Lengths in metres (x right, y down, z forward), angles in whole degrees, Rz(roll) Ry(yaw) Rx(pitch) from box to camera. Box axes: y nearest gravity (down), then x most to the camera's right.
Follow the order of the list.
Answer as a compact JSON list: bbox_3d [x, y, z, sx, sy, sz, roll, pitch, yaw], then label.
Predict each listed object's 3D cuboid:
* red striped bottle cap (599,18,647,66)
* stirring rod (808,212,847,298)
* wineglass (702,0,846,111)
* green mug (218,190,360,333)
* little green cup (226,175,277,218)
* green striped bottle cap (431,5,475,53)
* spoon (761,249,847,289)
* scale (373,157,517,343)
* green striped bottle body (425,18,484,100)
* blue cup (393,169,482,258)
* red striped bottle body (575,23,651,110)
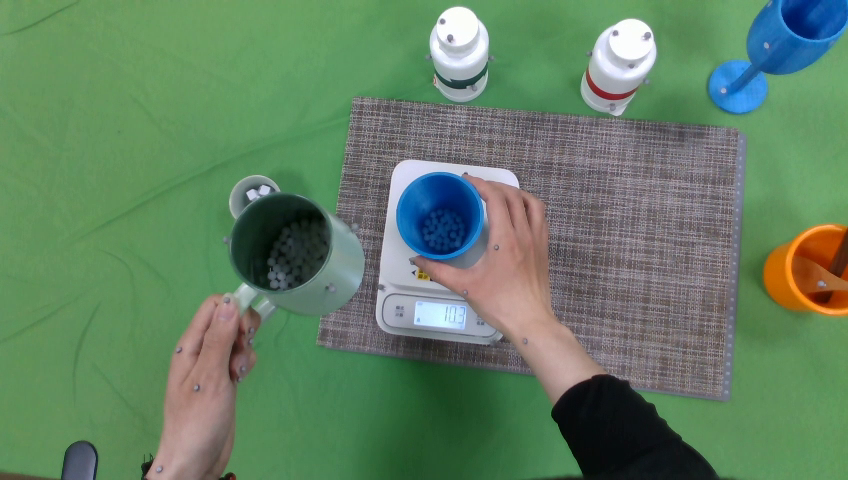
[{"bbox_3d":[0.198,-0.197,0.601,0.044,0.018,0.044,-1,80,5],"label":"red striped bottle cap"},{"bbox_3d":[0.415,-0.007,0.596,0.014,0.178,0.006,15,43,21],"label":"stirring rod"},{"bbox_3d":[0.346,-0.192,0.615,0.073,0.173,0.073,-1,81,6],"label":"wineglass"},{"bbox_3d":[-0.114,0.024,0.491,0.092,0.105,0.125,39,83,10],"label":"green mug"},{"bbox_3d":[-0.194,-0.042,0.709,0.061,0.039,0.061,0,82,4],"label":"little green cup"},{"bbox_3d":[0.029,-0.215,0.616,0.044,0.020,0.044,-1,82,6],"label":"green striped bottle cap"},{"bbox_3d":[0.428,0.046,0.588,0.022,0.192,0.041,19,91,-36],"label":"spoon"},{"bbox_3d":[0.023,0.010,0.683,0.148,0.031,0.200,6,83,6],"label":"scale"},{"bbox_3d":[0.035,-0.205,0.671,0.063,0.119,0.063,-1,82,5],"label":"green striped bottle body"},{"bbox_3d":[0.015,-0.021,0.622,0.092,0.100,0.092,0,85,3],"label":"blue cup"},{"bbox_3d":[0.203,-0.190,0.654,0.063,0.120,0.063,-1,82,5],"label":"red striped bottle body"}]
